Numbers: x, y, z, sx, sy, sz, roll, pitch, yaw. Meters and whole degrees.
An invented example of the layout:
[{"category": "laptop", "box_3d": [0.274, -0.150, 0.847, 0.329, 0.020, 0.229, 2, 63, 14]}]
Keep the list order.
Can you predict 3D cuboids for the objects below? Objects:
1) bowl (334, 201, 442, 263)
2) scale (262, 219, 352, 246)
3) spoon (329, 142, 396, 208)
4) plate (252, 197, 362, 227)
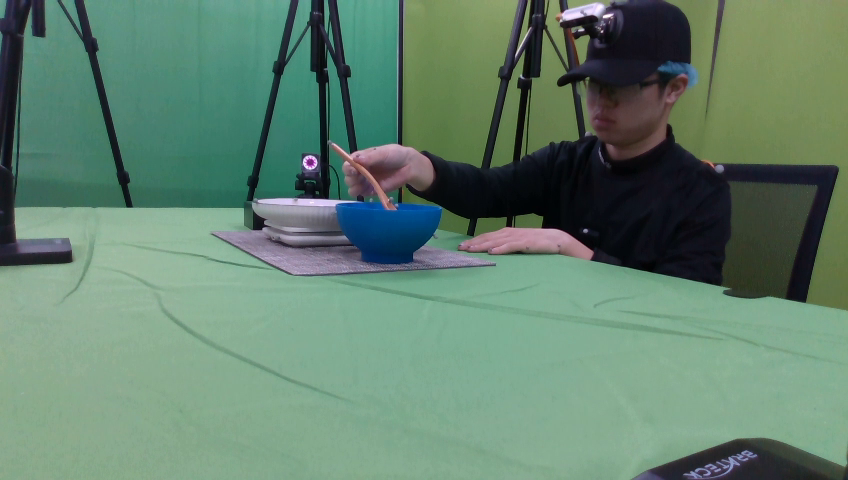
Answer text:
[{"category": "bowl", "box_3d": [-0.051, -0.012, 0.849, 0.151, 0.077, 0.151, 2, 7, 0]}, {"category": "scale", "box_3d": [-0.160, -0.015, 1.028, 0.202, 0.031, 0.148, -2, 8, -32]}, {"category": "spoon", "box_3d": [-0.077, -0.084, 0.866, 0.193, 0.021, 0.042, 49, 16, 24]}, {"category": "plate", "box_3d": [-0.179, -0.047, 1.012, 0.209, 0.038, 0.209, 2, 6, 0]}]
